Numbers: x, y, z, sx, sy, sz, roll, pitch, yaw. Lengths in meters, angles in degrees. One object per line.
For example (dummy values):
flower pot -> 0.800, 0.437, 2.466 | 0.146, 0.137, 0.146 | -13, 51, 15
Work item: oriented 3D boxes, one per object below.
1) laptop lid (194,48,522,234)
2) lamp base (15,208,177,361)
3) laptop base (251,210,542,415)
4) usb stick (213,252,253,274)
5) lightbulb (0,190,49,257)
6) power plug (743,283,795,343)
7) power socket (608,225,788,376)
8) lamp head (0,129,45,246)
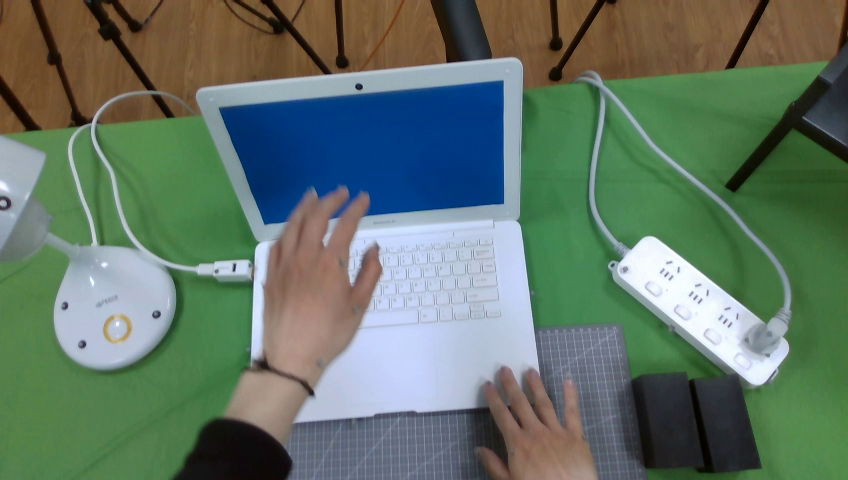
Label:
laptop lid -> -0.062, -0.104, 0.720 | 0.356, 0.244, 0.013 | -7, 46, 3
lamp base -> -0.415, 0.042, 0.721 | 0.160, 0.181, 0.178 | -34, 69, -8
laptop base -> -0.042, 0.087, 0.764 | 0.354, 0.023, 0.234 | -5, 73, 2
usb stick -> -0.240, 0.030, 0.787 | 0.059, 0.027, 0.021 | -1, 65, 1
lightbulb -> -0.346, -0.028, 0.461 | 0.059, 0.109, 0.059 | -28, 44, 32
power plug -> 0.401, 0.089, 0.697 | 0.072, 0.053, 0.035 | -35, 71, -9
power socket -> 0.330, 0.070, 0.734 | 0.225, 0.033, 0.072 | 42, 79, 16
lamp head -> -0.367, -0.047, 0.448 | 0.124, 0.112, 0.112 | 27, 69, -31
